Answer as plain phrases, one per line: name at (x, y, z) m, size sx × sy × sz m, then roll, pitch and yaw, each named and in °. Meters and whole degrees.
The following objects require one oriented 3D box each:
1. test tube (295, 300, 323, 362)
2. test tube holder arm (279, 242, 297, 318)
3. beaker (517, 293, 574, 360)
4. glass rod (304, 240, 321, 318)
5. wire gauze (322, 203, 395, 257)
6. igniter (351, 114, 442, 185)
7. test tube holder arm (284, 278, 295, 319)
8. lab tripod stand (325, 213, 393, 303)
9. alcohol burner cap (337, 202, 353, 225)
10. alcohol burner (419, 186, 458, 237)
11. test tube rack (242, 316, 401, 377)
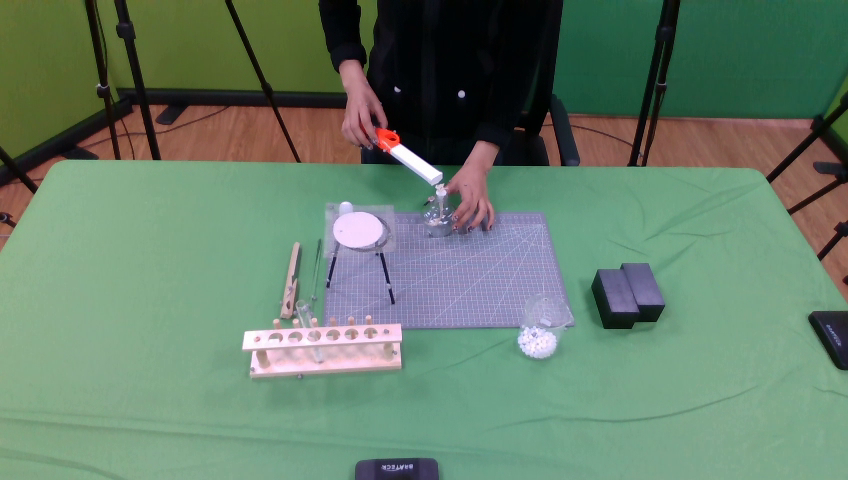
test tube at (-0.176, 0.143, 0.935) m, size 0.017 × 0.151 × 0.017 m, roll -2°, pitch 46°, yaw 2°
test tube holder arm at (-0.249, 0.069, 1.114) m, size 0.013 × 0.015 × 0.177 m, roll 26°, pitch 38°, yaw -27°
beaker at (0.200, 0.149, 1.018) m, size 0.084 × 0.101 × 0.073 m, roll 14°, pitch 47°, yaw 8°
glass rod at (-0.207, 0.068, 1.128) m, size 0.008 × 0.008 × 0.198 m, roll 2°, pitch 43°, yaw -2°
wire gauze at (-0.111, -0.020, 1.035) m, size 0.121 × 0.011 × 0.124 m, roll 0°, pitch 47°, yaw -7°
igniter at (-0.065, -0.190, 1.235) m, size 0.057 × 0.025 × 0.275 m, roll -32°, pitch 53°, yaw -26°
test tube holder arm at (-0.241, 0.103, 1.085) m, size 0.010 × 0.015 × 0.087 m, roll 26°, pitch 38°, yaw -27°
lab tripod stand at (-0.104, 0.031, 1.080) m, size 0.148 × 0.132 × 0.147 m, roll 4°, pitch 45°, yaw -4°
alcohol burner cap at (-0.161, -0.056, 1.223) m, size 0.034 × 0.048 × 0.033 m, roll 2°, pitch 46°, yaw -2°
alcohol burner at (0.030, -0.063, 1.196) m, size 0.078 × 0.119 × 0.077 m, roll 3°, pitch 48°, yaw -3°
test tube rack at (-0.160, 0.166, 0.983) m, size 0.242 × 0.085 × 0.066 m, roll -2°, pitch 46°, yaw -6°
